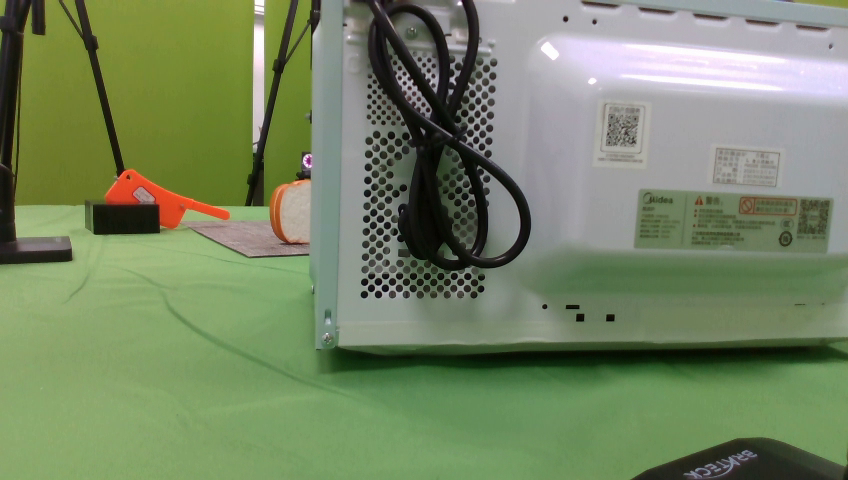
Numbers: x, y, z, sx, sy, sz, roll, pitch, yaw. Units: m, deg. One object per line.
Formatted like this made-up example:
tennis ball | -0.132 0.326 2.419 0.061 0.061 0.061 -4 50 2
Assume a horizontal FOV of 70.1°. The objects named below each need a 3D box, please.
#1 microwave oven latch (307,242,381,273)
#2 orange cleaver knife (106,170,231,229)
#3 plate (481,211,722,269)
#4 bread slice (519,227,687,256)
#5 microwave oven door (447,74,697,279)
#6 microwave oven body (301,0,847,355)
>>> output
microwave oven latch | -0.086 0.019 0.656 0.079 0.029 0.030 2 7 -10
orange cleaver knife | -0.458 -0.060 1.097 0.212 0.077 0.012 23 -4 -38
plate | 0.155 -0.003 0.548 0.208 0.039 0.207 2 5 0
bread slice | 0.172 0.000 0.565 0.134 0.018 0.107 -1 6 31
microwave oven door | 0.179 -0.094 0.832 0.354 0.243 0.039 9 10 42
microwave oven body | 0.120 -0.053 0.535 0.443 0.260 0.325 2 7 -11
